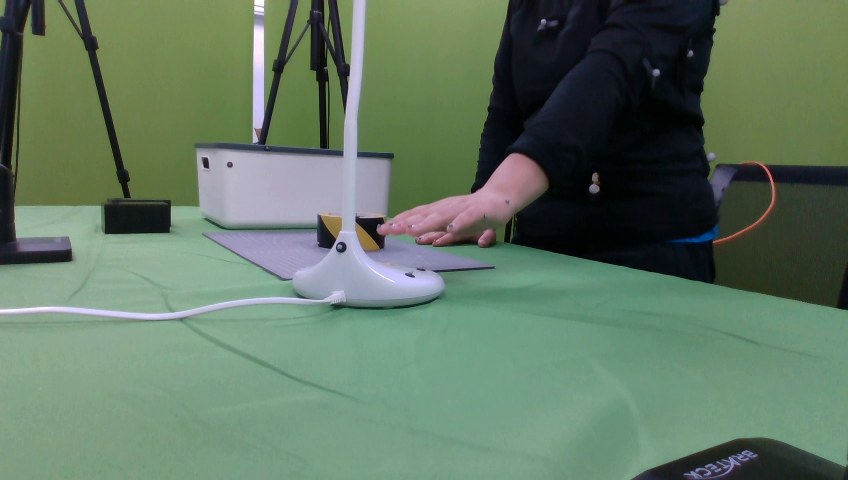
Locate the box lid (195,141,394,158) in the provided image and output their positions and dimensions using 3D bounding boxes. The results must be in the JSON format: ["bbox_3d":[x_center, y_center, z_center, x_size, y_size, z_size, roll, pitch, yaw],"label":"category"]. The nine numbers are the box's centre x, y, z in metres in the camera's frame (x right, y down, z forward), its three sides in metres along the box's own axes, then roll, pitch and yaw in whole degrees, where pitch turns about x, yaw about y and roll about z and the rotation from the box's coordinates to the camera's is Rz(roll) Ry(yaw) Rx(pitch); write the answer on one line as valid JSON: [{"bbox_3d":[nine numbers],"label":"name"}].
[{"bbox_3d":[-0.277,-0.190,1.282,0.373,0.015,0.262,-1,8,-30],"label":"box lid"}]

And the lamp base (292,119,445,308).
[{"bbox_3d":[-0.056,-0.030,0.616,0.160,0.180,0.179,4,10,8],"label":"lamp base"}]

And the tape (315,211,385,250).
[{"bbox_3d":[-0.119,-0.017,0.973,0.117,0.052,0.117,2,7,0],"label":"tape"}]

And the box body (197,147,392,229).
[{"bbox_3d":[-0.278,-0.117,1.292,0.366,0.160,0.253,-2,8,-30],"label":"box body"}]
